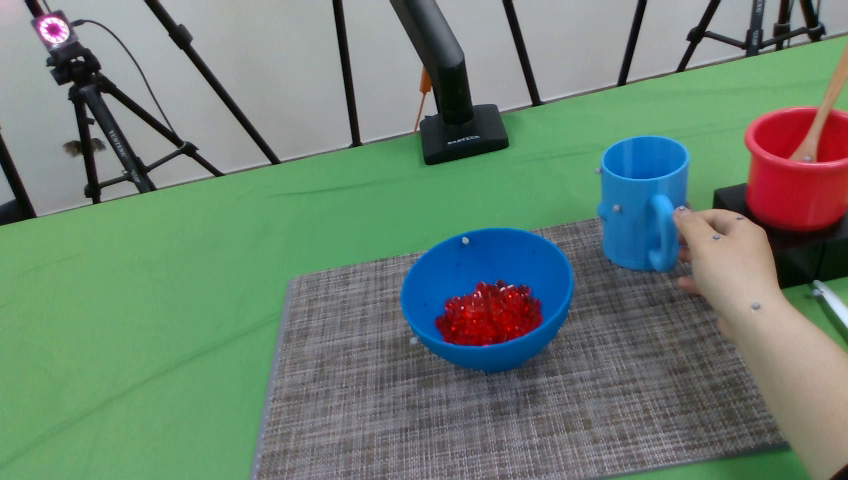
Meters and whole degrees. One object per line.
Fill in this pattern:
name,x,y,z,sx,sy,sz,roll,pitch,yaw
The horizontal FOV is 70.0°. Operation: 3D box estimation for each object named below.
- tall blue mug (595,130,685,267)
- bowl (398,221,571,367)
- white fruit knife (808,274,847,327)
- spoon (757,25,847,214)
tall blue mug,0.217,-0.033,0.578,0.078,0.109,0.106,-28,40,-17
bowl,0.058,0.061,0.543,0.151,0.077,0.150,-9,39,8
white fruit knife,0.354,0.093,0.464,0.027,0.016,0.205,11,35,-12
spoon,0.346,-0.113,0.530,0.041,0.022,0.194,26,99,42
